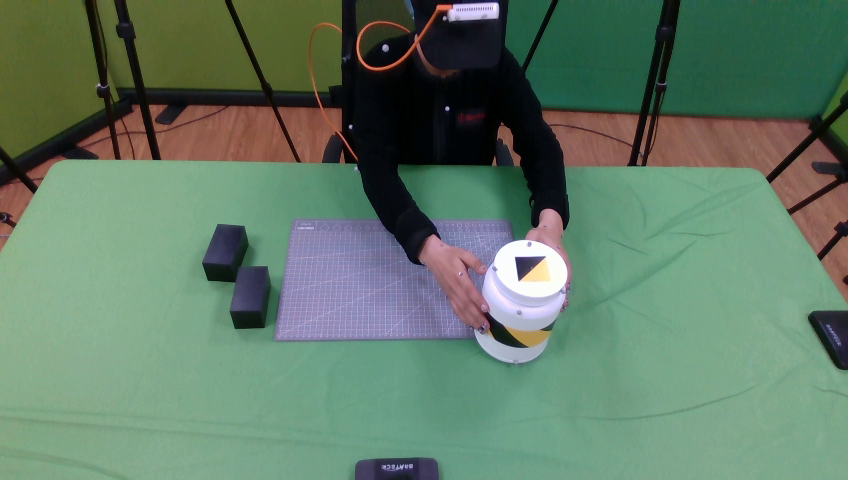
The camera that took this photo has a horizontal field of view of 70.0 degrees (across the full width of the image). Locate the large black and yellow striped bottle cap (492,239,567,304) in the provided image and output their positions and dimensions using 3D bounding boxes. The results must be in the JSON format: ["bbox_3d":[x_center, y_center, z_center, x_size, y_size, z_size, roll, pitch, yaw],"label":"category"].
[{"bbox_3d":[0.163,0.047,0.931,0.115,0.019,0.114,3,50,-3],"label":"large black and yellow striped bottle cap"}]

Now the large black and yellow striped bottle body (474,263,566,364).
[{"bbox_3d":[0.157,0.103,0.993,0.131,0.185,0.130,3,48,-3],"label":"large black and yellow striped bottle body"}]
